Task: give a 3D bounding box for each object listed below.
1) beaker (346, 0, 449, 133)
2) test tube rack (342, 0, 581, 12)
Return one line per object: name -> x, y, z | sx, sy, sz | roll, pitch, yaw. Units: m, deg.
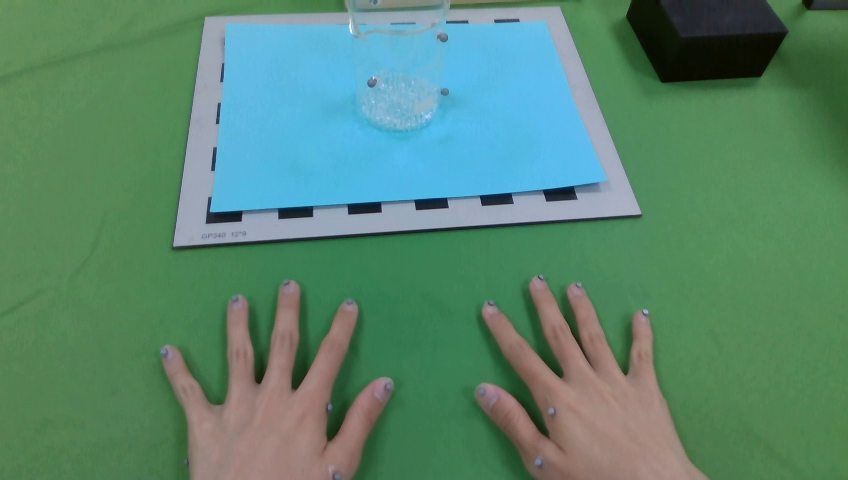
beaker -> -0.023, -0.139, 0.470 | 0.073, 0.101, 0.084 | 35, 61, 20
test tube rack -> 0.038, -0.283, 0.586 | 0.243, 0.086, 0.066 | -6, 55, -7
